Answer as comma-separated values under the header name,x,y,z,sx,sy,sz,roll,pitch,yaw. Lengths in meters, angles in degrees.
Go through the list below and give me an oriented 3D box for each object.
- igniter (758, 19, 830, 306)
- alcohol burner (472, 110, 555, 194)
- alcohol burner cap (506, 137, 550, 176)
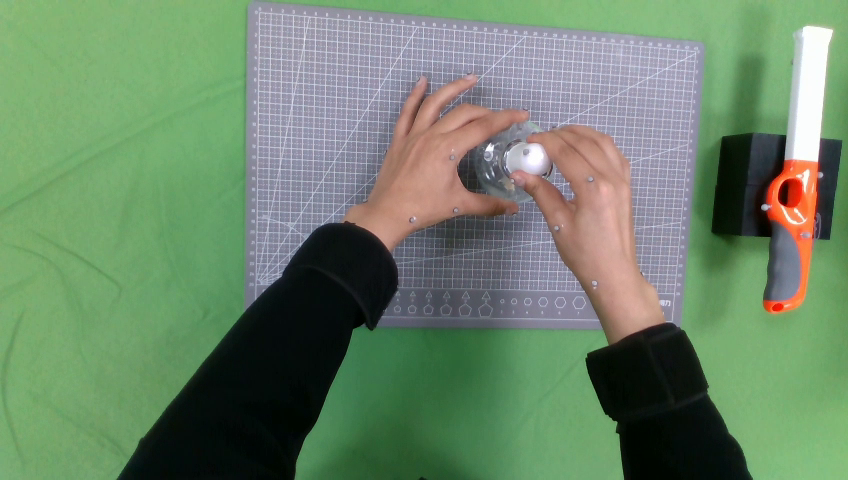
name,x,y,z,sx,sy,sz,roll,pitch,yaw
igniter,0.360,-0.072,0.588,0.057,0.025,0.276,5,93,-9
alcohol burner,0.086,-0.079,0.545,0.078,0.118,0.078,-1,98,-9
alcohol burner cap,0.090,-0.071,0.513,0.034,0.048,0.034,0,95,-2
